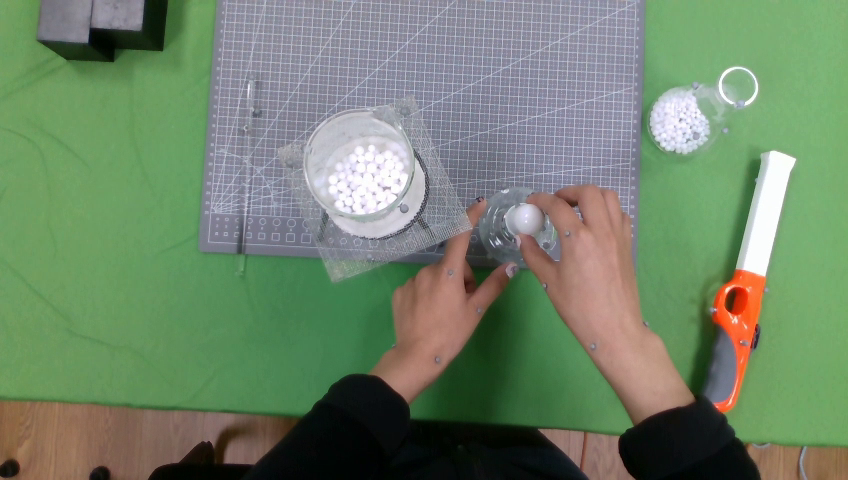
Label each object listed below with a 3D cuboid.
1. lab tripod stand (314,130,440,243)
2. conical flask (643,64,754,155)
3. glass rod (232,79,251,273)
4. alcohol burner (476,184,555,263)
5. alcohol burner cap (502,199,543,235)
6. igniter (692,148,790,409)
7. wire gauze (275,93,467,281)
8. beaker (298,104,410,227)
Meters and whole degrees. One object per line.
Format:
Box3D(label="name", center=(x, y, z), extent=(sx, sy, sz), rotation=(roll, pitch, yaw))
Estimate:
Box3D(label="lab tripod stand", center=(-0.046, -0.039, 0.561), extent=(0.148, 0.131, 0.148), rotation=(0, 88, -1))
Box3D(label="conical flask", center=(0.267, -0.130, 0.583), extent=(0.075, 0.122, 0.075), rotation=(0, 86, -1))
Box3D(label="glass rod", center=(-0.186, -0.066, 0.621), extent=(0.008, 0.008, 0.199), rotation=(4, 89, -1))
Box3D(label="alcohol burner", center=(0.088, -0.018, 0.573), extent=(0.078, 0.119, 0.077), rotation=(0, 84, 1))
Box3D(label="alcohol burner cap", center=(0.089, -0.021, 0.537), extent=(0.034, 0.048, 0.034), rotation=(0, 91, -4))
Box3D(label="igniter", center=(0.326, 0.041, 0.622), extent=(0.057, 0.025, 0.276), rotation=(17, 86, -10))
Box3D(label="wire gauze", center=(-0.043, -0.043, 0.495), extent=(0.125, 0.011, 0.121), rotation=(-22, 90, -4))
Box3D(label="beaker", center=(-0.045, -0.050, 0.448), extent=(0.074, 0.100, 0.084), rotation=(25, 86, 0))
